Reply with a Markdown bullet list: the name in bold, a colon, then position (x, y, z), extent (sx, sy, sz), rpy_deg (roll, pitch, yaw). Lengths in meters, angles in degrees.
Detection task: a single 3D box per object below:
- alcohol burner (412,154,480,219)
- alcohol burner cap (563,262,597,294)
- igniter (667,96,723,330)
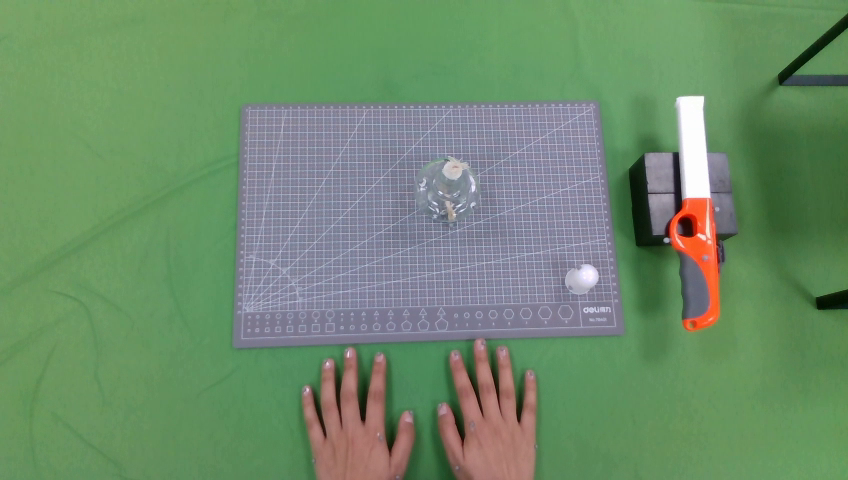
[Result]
- **alcohol burner**: position (0.027, -0.065, 0.681), extent (0.078, 0.119, 0.077), rpy_deg (1, 76, -5)
- **alcohol burner cap**: position (0.182, 0.042, 0.701), extent (0.034, 0.048, 0.033), rpy_deg (1, 75, -3)
- **igniter**: position (0.305, -0.036, 0.689), extent (0.057, 0.025, 0.275), rpy_deg (1, 76, 9)
